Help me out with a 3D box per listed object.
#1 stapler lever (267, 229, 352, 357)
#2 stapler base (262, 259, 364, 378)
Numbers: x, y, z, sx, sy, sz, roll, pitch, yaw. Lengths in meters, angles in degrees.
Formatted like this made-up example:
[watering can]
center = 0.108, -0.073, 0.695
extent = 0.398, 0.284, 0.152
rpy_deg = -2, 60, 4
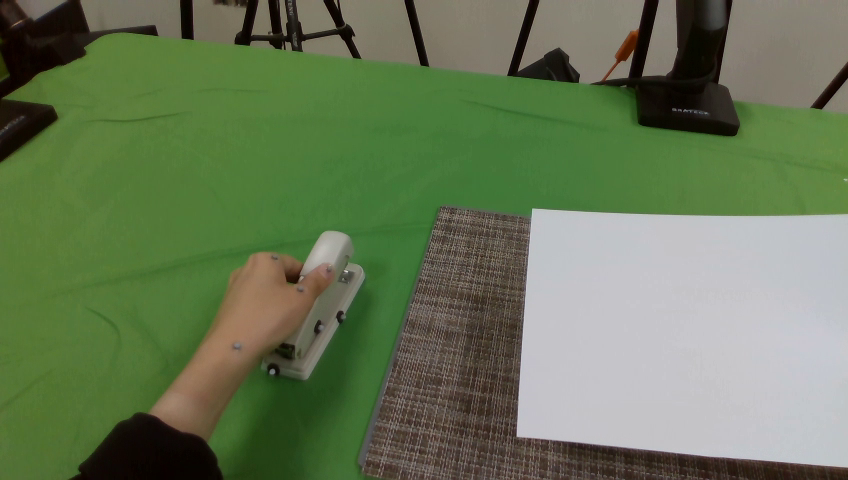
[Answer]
[stapler lever]
center = -0.091, 0.038, 0.493
extent = 0.027, 0.040, 0.117
rpy_deg = 11, 45, 14
[stapler base]
center = -0.091, 0.056, 0.512
extent = 0.041, 0.024, 0.129
rpy_deg = 11, 45, 14
